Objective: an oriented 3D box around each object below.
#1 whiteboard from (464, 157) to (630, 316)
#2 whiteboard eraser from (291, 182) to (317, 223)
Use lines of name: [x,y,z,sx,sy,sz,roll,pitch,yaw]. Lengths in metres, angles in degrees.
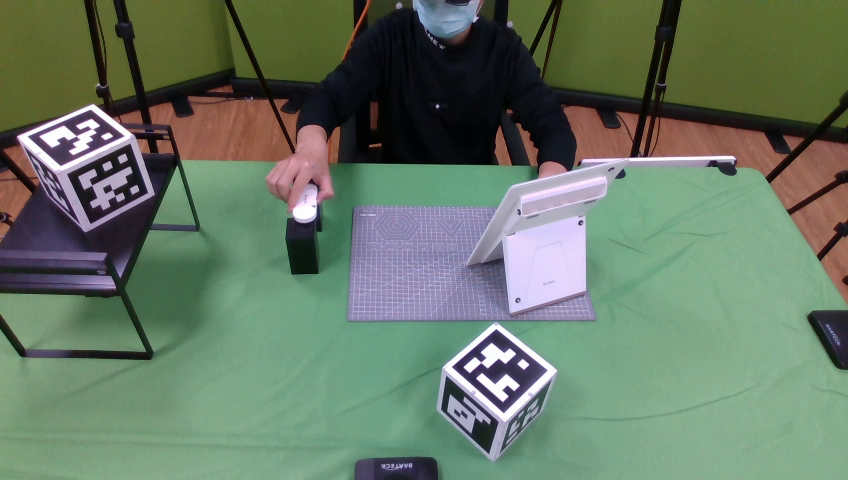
whiteboard: [0.224,0.015,1.041,0.217,0.306,0.143,-14,68,-17]
whiteboard eraser: [-0.219,-0.069,1.111,0.041,0.019,0.100,-2,46,-3]
